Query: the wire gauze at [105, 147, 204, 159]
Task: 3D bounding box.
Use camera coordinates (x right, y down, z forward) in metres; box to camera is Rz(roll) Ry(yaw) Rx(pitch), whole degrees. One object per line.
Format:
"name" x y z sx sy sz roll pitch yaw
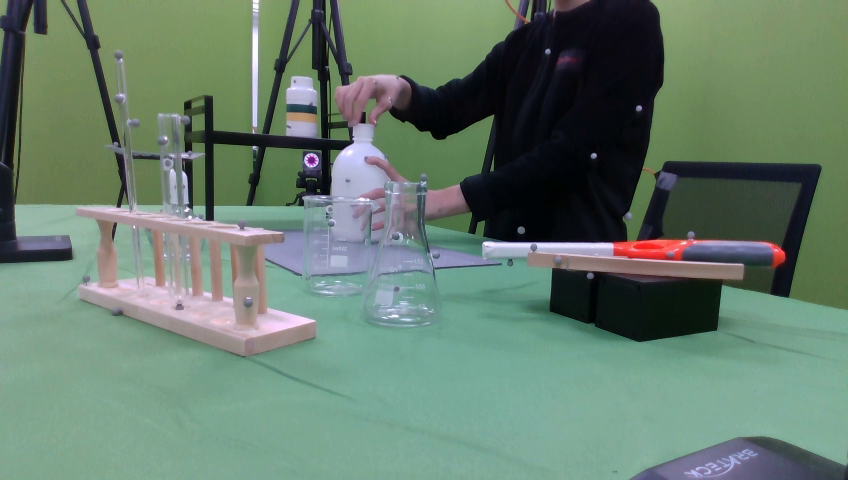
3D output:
"wire gauze" -0.407 -0.131 0.928 0.125 0.011 0.121 2 6 -11

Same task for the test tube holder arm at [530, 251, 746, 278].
"test tube holder arm" 0.182 0.022 0.523 0.178 0.015 0.013 3 6 12

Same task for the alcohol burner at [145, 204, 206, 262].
"alcohol burner" -0.321 -0.032 0.788 0.078 0.119 0.078 1 7 0

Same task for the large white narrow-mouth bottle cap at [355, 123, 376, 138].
"large white narrow-mouth bottle cap" -0.098 -0.184 1.015 0.038 0.024 0.037 4 7 0

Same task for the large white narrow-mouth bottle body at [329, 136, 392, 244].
"large white narrow-mouth bottle body" -0.106 -0.095 1.027 0.102 0.194 0.102 4 7 0

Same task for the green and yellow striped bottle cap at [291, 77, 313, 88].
"green and yellow striped bottle cap" -0.250 -0.321 1.238 0.045 0.020 0.045 3 6 0

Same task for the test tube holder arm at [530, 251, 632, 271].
"test tube holder arm" 0.139 0.019 0.538 0.087 0.015 0.010 3 6 13

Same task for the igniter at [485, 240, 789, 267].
"igniter" 0.197 0.012 0.585 0.276 0.025 0.057 1 5 12

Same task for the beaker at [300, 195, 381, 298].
"beaker" -0.087 0.006 0.626 0.084 0.100 0.074 1 8 -17

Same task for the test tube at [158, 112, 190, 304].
"test tube" -0.194 -0.022 0.469 0.017 0.150 0.017 2 12 0

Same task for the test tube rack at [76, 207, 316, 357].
"test tube rack" -0.196 0.023 0.500 0.241 0.085 0.067 8 9 36

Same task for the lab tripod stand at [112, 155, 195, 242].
"lab tripod stand" -0.405 -0.064 0.931 0.148 0.131 0.148 1 7 0

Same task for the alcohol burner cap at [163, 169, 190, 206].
"alcohol burner cap" -0.320 -0.067 0.782 0.034 0.048 0.034 1 7 0

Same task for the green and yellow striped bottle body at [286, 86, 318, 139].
"green and yellow striped bottle body" -0.251 -0.270 1.245 0.063 0.119 0.063 3 7 0

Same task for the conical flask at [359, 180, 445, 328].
"conical flask" -0.017 0.010 0.522 0.075 0.122 0.075 2 7 0

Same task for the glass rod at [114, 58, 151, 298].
"glass rod" -0.236 -0.044 0.492 0.008 0.199 0.008 0 15 0
